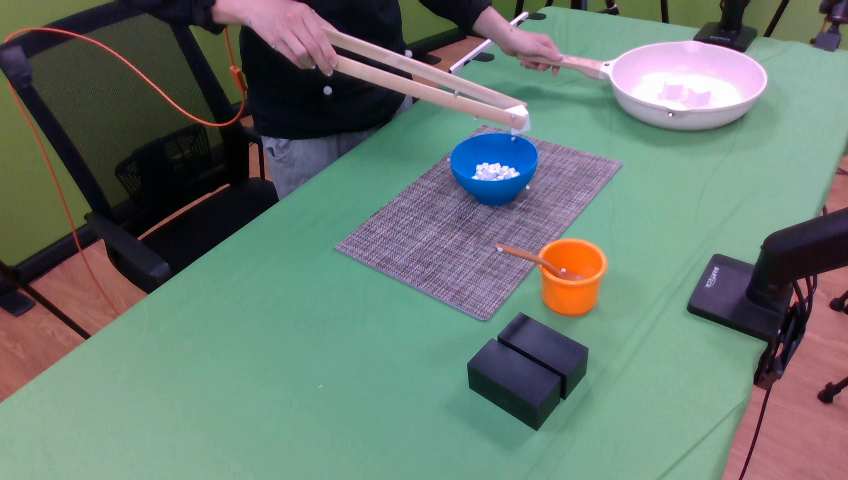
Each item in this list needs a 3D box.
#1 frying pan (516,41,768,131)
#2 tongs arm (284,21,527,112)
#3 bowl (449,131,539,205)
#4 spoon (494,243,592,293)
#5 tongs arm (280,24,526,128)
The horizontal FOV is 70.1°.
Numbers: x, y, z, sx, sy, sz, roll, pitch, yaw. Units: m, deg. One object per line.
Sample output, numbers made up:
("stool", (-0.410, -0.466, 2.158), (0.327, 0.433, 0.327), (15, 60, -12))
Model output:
("frying pan", (0.424, -0.338, 1.236), (0.486, 0.103, 0.307), (18, 45, 15))
("tongs arm", (-0.024, -0.265, 0.933), (0.389, 0.028, 0.028), (16, 54, -8))
("bowl", (0.120, -0.114, 1.034), (0.151, 0.077, 0.150), (-4, 41, 4))
("spoon", (0.161, 0.034, 0.808), (0.021, 0.195, 0.041), (-48, 40, 20))
("tongs arm", (-0.028, -0.246, 0.916), (0.386, 0.026, 0.050), (14, 51, -11))
